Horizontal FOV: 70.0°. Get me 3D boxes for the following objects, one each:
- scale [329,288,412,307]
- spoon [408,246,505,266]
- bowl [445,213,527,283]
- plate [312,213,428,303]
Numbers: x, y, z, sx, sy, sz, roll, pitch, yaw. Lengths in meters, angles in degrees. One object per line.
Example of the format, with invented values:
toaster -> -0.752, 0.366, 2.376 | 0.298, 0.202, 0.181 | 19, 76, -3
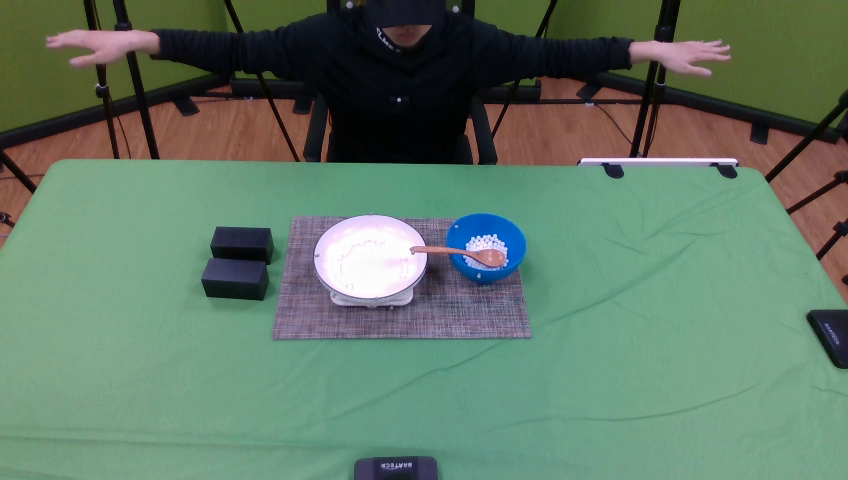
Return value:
scale -> -0.098, 0.042, 1.139 | 0.149, 0.032, 0.199 | 1, 46, -4
spoon -> 0.061, 0.023, 1.091 | 0.194, 0.022, 0.041 | 9, 49, -27
bowl -> 0.111, 0.028, 1.137 | 0.151, 0.077, 0.150 | 2, 46, -2
plate -> -0.097, 0.036, 1.100 | 0.209, 0.038, 0.208 | 2, 46, -2
